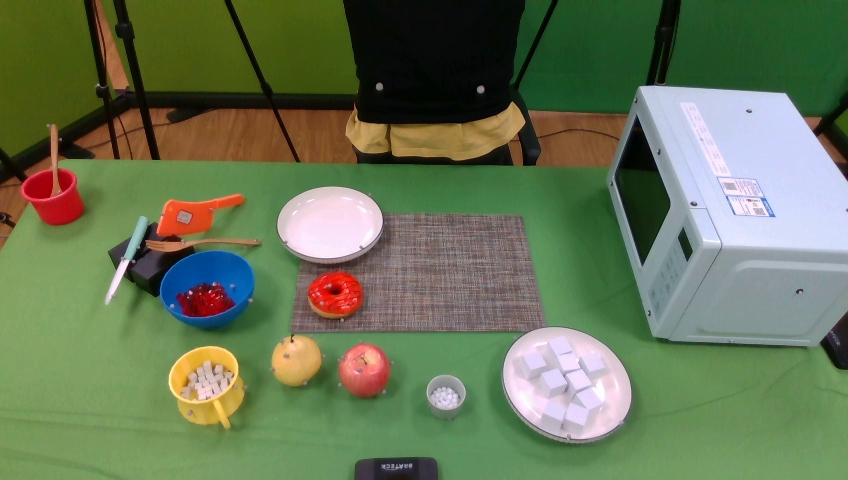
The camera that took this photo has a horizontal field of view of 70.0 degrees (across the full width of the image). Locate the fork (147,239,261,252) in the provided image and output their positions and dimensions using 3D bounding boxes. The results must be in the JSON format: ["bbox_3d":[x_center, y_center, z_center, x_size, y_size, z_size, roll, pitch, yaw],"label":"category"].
[{"bbox_3d":[-0.399,0.007,1.118,0.208,0.019,0.028,-4,35,-37],"label":"fork"}]

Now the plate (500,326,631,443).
[{"bbox_3d":[0.224,0.233,0.978,0.208,0.039,0.206,2,46,-2],"label":"plate"}]

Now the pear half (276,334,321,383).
[{"bbox_3d":[-0.196,0.172,0.957,0.076,0.110,0.056,27,51,16],"label":"pear half"}]

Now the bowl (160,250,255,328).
[{"bbox_3d":[-0.362,0.097,1.040,0.151,0.077,0.150,2,45,-2],"label":"bowl"}]

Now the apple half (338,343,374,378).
[{"bbox_3d":[-0.112,0.192,0.968,0.081,0.081,0.032,-32,59,-29],"label":"apple half"}]

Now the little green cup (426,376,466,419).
[{"bbox_3d":[0.033,0.248,0.950,0.061,0.039,0.061,2,46,-2],"label":"little green cup"}]

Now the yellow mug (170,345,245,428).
[{"bbox_3d":[-0.322,0.230,0.922,0.100,0.064,0.130,-24,53,-25],"label":"yellow mug"}]

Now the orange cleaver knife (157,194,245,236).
[{"bbox_3d":[-0.427,-0.051,1.175,0.012,0.077,0.211,23,19,20],"label":"orange cleaver knife"}]

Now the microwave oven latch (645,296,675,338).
[{"bbox_3d":[0.411,0.134,1.061,0.030,0.029,0.078,4,45,0],"label":"microwave oven latch"}]

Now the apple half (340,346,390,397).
[{"bbox_3d":[-0.085,0.214,0.950,0.081,0.075,0.053,-29,58,-32],"label":"apple half"}]

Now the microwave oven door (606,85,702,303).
[{"bbox_3d":[0.423,-0.094,1.140,0.039,0.245,0.353,2,46,-1],"label":"microwave oven door"}]

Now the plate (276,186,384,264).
[{"bbox_3d":[-0.184,-0.027,1.195,0.209,0.038,0.208,2,46,-2],"label":"plate"}]

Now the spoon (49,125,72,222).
[{"bbox_3d":[-0.717,-0.131,1.189,0.041,0.021,0.193,-3,90,-6],"label":"spoon"}]

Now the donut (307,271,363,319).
[{"bbox_3d":[-0.157,0.097,1.073,0.099,0.048,0.098,4,45,-4],"label":"donut"}]

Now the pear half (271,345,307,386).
[{"bbox_3d":[-0.216,0.200,0.943,0.070,0.088,0.031,27,49,15],"label":"pear half"}]

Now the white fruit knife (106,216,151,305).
[{"bbox_3d":[-0.519,0.032,1.066,0.027,0.016,0.206,-18,45,19],"label":"white fruit knife"}]

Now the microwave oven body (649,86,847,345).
[{"bbox_3d":[0.567,-0.053,1.119,0.326,0.261,0.439,2,45,-1],"label":"microwave oven body"}]
